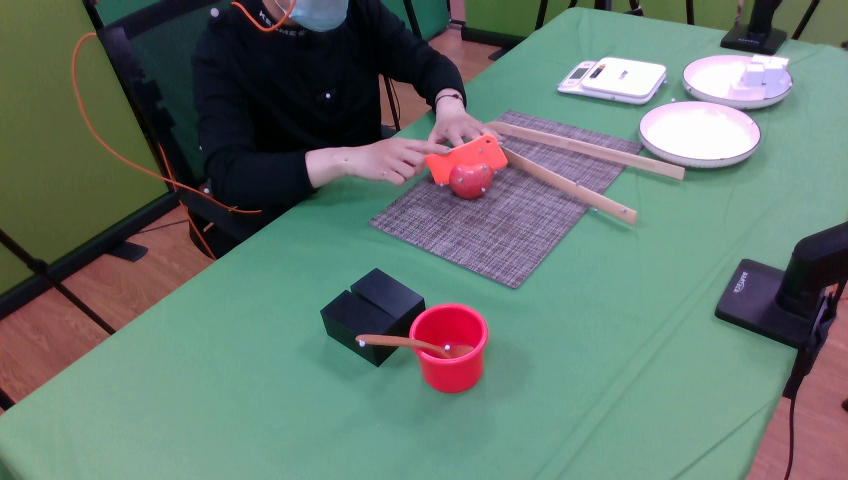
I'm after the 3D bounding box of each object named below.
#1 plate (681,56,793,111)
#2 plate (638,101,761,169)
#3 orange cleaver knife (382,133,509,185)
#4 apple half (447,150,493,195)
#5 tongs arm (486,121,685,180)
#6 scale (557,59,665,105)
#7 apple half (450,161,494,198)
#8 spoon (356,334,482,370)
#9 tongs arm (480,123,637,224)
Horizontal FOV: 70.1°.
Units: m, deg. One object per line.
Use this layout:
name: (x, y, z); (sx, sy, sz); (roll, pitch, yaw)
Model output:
plate: (0.636, -0.317, 1.239); (0.207, 0.039, 0.206); (-4, 40, 4)
plate: (0.500, -0.189, 1.111); (0.209, 0.038, 0.208); (-4, 41, 4)
orange cleaver knife: (0.037, -0.128, 1.027); (0.211, 0.077, 0.012); (-12, 36, 9)
apple half: (0.081, -0.123, 1.065); (0.081, 0.075, 0.053); (-7, 37, 5)
tongs arm: (0.287, -0.170, 1.124); (0.384, 0.028, 0.028); (21, 52, 29)
scale: (0.407, -0.348, 1.314); (0.199, 0.032, 0.149); (19, 47, 28)
apple half: (0.084, -0.096, 1.033); (0.081, 0.081, 0.032); (-6, 44, 2)
spoon: (-0.001, 0.130, 0.731); (0.195, 0.021, 0.041); (22, 28, -39)
tongs arm: (0.228, -0.128, 1.080); (0.051, 0.026, 0.381); (-33, 46, -26)
